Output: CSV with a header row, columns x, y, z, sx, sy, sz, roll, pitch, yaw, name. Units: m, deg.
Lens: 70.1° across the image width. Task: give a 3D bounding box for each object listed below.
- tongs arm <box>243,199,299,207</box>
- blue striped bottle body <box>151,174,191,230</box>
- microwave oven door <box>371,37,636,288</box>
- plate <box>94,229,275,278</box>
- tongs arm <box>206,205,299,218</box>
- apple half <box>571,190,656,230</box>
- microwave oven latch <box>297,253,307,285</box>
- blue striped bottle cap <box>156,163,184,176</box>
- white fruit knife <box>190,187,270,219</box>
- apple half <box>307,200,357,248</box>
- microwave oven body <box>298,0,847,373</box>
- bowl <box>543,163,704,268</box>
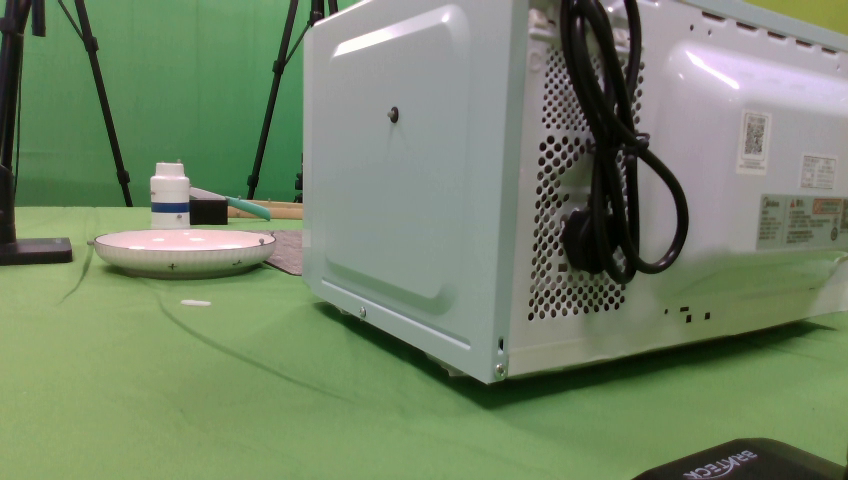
x,y,z,sx,sy,sz,roll,pitch,yaw,name
-0.309,-0.079,1.487,0.385,0.026,0.050,3,7,-2,tongs arm
-0.439,-0.071,1.052,0.063,0.120,0.063,2,7,0,blue striped bottle body
0.110,-0.080,0.686,0.358,0.243,0.039,-2,9,-33,microwave oven door
-0.291,0.016,0.749,0.208,0.039,0.207,2,7,0,plate
-0.302,-0.065,1.407,0.389,0.028,0.028,1,4,-15,tongs arm
0.182,-0.031,0.583,0.081,0.033,0.081,12,-4,1,apple half
-0.082,0.027,0.582,0.079,0.029,0.030,-1,8,-33,microwave oven latch
-0.438,-0.122,1.045,0.044,0.020,0.044,4,6,0,blue striped bottle cap
-0.413,-0.081,1.270,0.208,0.027,0.016,17,14,-41,white fruit knife
-0.135,-0.024,0.941,0.053,0.074,0.081,13,8,38,apple half
0.151,-0.055,0.542,0.444,0.260,0.324,-1,7,-33,microwave oven body
0.181,-0.020,0.584,0.151,0.077,0.151,13,7,-1,bowl
